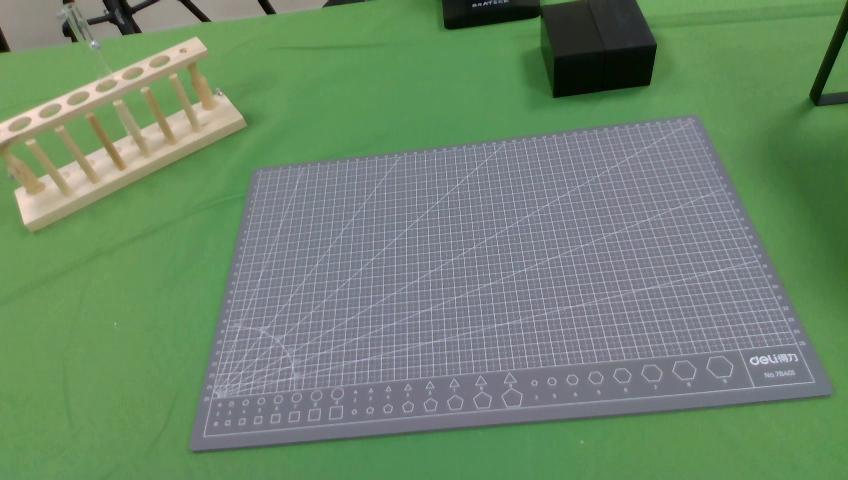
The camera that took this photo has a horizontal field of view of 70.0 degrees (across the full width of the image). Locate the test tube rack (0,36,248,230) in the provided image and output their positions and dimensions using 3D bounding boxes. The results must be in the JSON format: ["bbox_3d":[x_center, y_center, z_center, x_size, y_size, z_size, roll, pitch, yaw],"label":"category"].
[{"bbox_3d":[-0.320,-0.115,0.634,0.242,0.086,0.066,-31,52,-16],"label":"test tube rack"}]

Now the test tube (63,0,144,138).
[{"bbox_3d":[-0.319,-0.167,0.611,0.017,0.152,0.017,-3,46,4],"label":"test tube"}]
